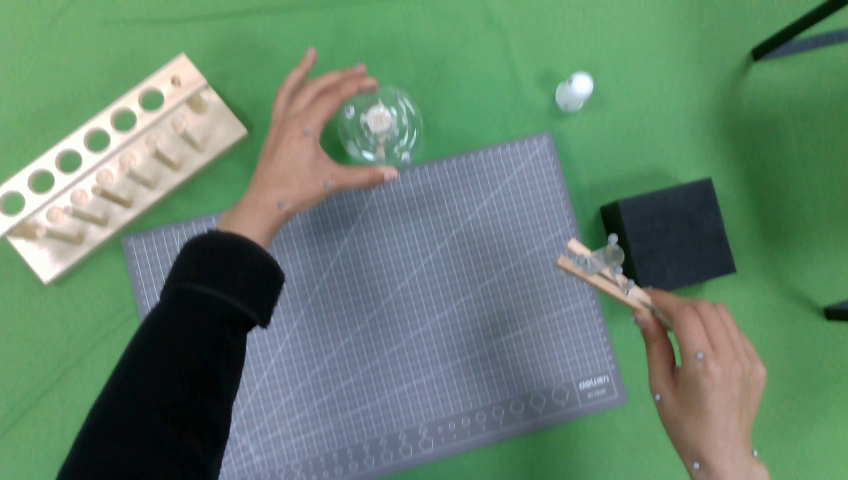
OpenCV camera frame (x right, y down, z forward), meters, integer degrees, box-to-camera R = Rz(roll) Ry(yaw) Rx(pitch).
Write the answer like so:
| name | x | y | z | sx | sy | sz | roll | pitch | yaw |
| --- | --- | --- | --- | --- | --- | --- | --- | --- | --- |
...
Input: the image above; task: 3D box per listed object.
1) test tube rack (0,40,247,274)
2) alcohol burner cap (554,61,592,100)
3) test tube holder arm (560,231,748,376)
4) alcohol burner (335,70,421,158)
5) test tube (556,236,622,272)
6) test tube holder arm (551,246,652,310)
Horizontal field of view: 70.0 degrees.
| name | x | y | z | sx | sy | sz | roll | pitch | yaw |
| --- | --- | --- | --- | --- | --- | --- | --- | --- | --- |
| test tube rack | -0.289 | -0.071 | 0.558 | 0.242 | 0.085 | 0.067 | -39 | 90 | -6 |
| alcohol burner cap | 0.156 | -0.167 | 0.627 | 0.034 | 0.048 | 0.034 | 0 | 86 | -4 |
| test tube holder arm | 0.182 | 0.050 | 0.478 | 0.178 | 0.015 | 0.013 | 36 | 91 | 0 |
| alcohol burner | -0.040 | -0.112 | 0.528 | 0.078 | 0.119 | 0.078 | 0 | 95 | -3 |
| test tube | 0.124 | 0.013 | 0.470 | 0.017 | 0.150 | 0.017 | 0 | 84 | 1 |
| test tube holder arm | 0.141 | 0.030 | 0.478 | 0.088 | 0.015 | 0.010 | 29 | 90 | 0 |
